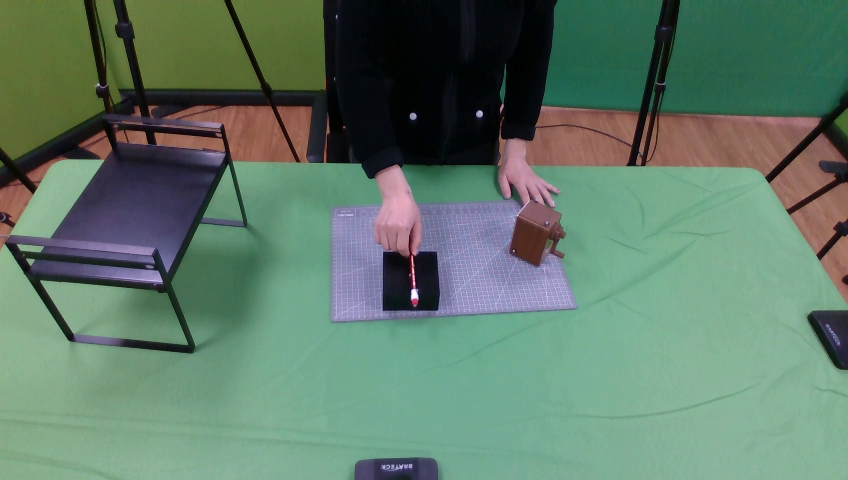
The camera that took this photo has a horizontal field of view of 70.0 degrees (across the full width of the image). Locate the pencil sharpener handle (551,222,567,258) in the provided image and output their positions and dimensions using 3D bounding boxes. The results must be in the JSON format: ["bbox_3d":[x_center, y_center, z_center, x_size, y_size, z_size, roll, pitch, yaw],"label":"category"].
[{"bbox_3d":[0.258,0.002,1.132,0.030,0.068,0.036,27,42,21],"label":"pencil sharpener handle"}]

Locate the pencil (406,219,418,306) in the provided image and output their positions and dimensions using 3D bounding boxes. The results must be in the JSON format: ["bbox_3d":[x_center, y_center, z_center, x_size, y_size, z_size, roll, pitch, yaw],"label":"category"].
[{"bbox_3d":[-0.023,0.035,1.087,0.012,0.012,0.193,-2,51,-5],"label":"pencil"}]

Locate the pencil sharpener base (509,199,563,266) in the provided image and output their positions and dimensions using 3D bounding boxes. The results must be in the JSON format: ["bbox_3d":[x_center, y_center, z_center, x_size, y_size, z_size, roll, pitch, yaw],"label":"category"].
[{"bbox_3d":[0.216,-0.012,1.160,0.076,0.107,0.061,27,50,21],"label":"pencil sharpener base"}]
